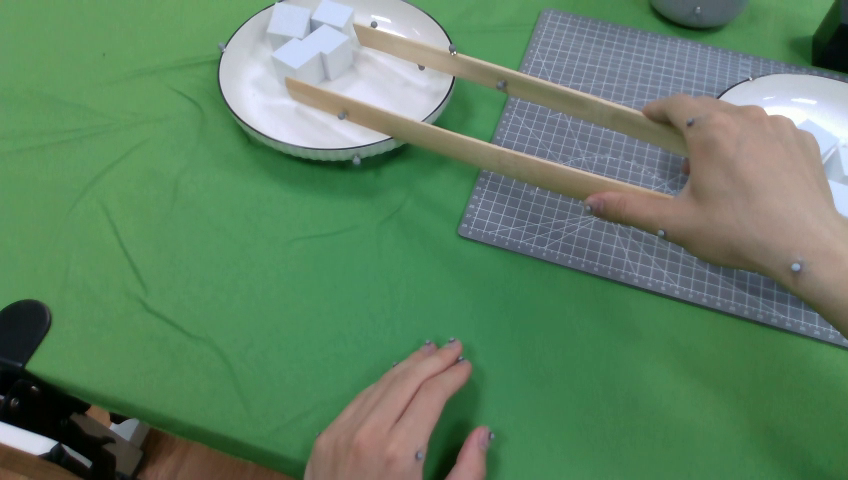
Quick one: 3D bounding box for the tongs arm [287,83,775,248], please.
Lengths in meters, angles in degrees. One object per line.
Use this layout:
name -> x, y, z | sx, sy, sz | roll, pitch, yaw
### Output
tongs arm -> 0.042, -0.065, 0.445 | 0.384, 0.028, 0.028 | 22, 54, 27

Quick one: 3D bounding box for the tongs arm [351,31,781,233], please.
tongs arm -> 0.073, -0.099, 0.466 | 0.381, 0.027, 0.050 | 26, 59, 29

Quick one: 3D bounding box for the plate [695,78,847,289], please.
plate -> 0.321, -0.047, 0.491 | 0.209, 0.038, 0.207 | 1, 56, -1

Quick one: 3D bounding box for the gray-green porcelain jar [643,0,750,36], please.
gray-green porcelain jar -> 0.280, -0.276, 0.593 | 0.106, 0.127, 0.105 | 0, 56, 0

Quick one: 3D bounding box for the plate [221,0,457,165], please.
plate -> -0.074, -0.143, 0.550 | 0.208, 0.039, 0.205 | 1, 57, -1
